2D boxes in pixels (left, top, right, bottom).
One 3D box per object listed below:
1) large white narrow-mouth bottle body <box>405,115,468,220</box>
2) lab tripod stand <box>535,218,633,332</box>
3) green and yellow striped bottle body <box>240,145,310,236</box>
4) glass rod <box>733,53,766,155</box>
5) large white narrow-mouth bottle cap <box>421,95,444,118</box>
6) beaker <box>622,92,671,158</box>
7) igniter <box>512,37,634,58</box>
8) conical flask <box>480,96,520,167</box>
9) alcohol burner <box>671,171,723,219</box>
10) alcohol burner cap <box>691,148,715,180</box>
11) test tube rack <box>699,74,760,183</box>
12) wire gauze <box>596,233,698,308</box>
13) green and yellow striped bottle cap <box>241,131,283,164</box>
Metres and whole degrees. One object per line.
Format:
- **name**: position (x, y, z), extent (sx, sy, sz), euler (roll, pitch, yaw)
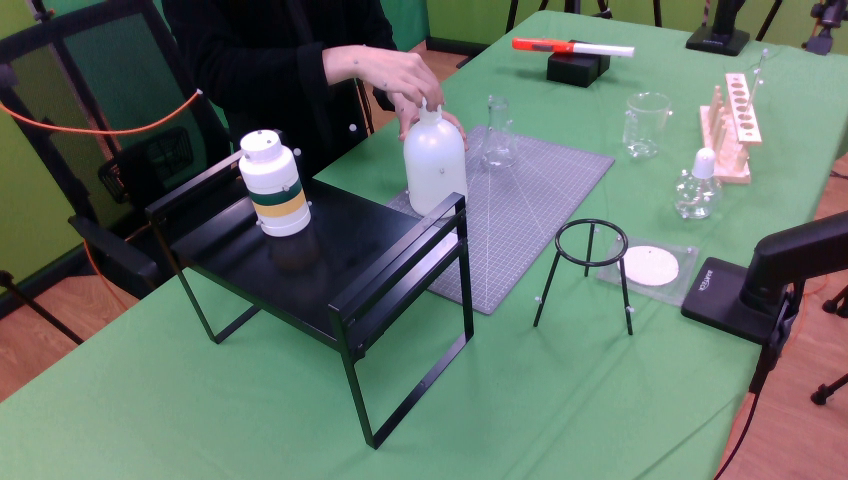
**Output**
- **large white narrow-mouth bottle body**: position (0.019, -0.136, 0.998), extent (0.102, 0.195, 0.101), euler (-3, 39, 3)
- **lab tripod stand**: position (0.215, 0.050, 0.803), extent (0.148, 0.132, 0.147), euler (-4, 42, 4)
- **green and yellow striped bottle body**: position (-0.181, -0.068, 0.729), extent (0.063, 0.120, 0.063), euler (-4, 40, 4)
- **glass rod**: position (0.540, -0.220, 1.006), extent (0.008, 0.201, 0.008), euler (-5, 45, 6)
- **large white narrow-mouth bottle cap**: position (0.013, -0.208, 0.939), extent (0.038, 0.024, 0.037), euler (-3, 39, 3)
- **beaker**: position (0.402, -0.210, 1.106), extent (0.074, 0.101, 0.083), euler (-9, 40, -2)
- **igniter**: position (0.328, -0.433, 1.361), extent (0.275, 0.025, 0.057), euler (12, 33, 19)
- **conical flask**: position (0.138, -0.201, 1.111), extent (0.075, 0.122, 0.075), euler (-4, 40, 4)
- **alcohol burner**: position (0.434, -0.093, 0.955), extent (0.078, 0.119, 0.077), euler (-3, 43, 4)
- **alcohol burner cap**: position (0.432, -0.120, 0.930), extent (0.034, 0.048, 0.033), euler (-7, 48, 8)
- **test tube rack**: position (0.547, -0.208, 1.095), extent (0.066, 0.085, 0.242), euler (6, 42, 16)
- **wire gauze**: position (0.331, 0.038, 0.897), extent (0.124, 0.011, 0.121), euler (18, 47, 26)
- **green and yellow striped bottle cap**: position (-0.187, -0.107, 0.695), extent (0.045, 0.020, 0.045), euler (-4, 39, 3)
